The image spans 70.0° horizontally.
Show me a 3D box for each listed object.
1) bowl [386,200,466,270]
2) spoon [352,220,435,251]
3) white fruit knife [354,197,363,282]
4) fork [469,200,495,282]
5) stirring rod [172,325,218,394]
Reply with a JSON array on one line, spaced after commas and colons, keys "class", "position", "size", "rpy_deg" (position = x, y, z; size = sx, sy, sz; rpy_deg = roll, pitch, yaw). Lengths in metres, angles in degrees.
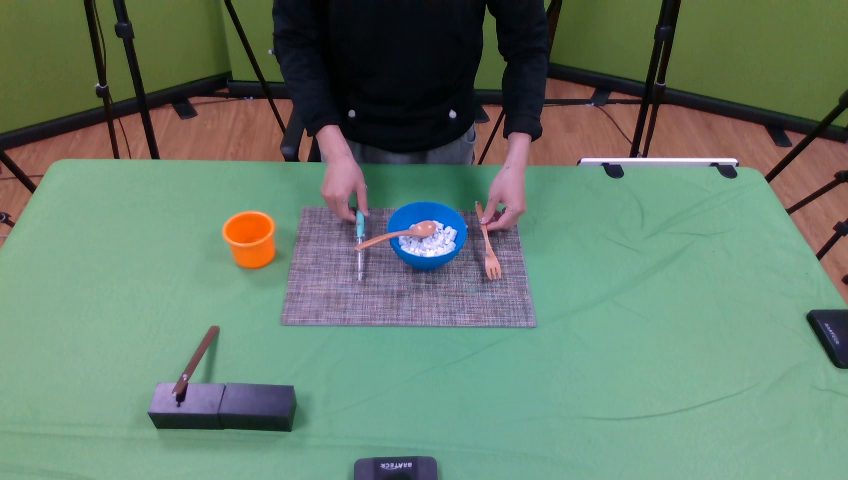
[{"class": "bowl", "position": [0.002, 0.003, 1.150], "size": [0.151, 0.077, 0.150], "rpy_deg": [2, 47, -2]}, {"class": "spoon", "position": [-0.054, -0.009, 1.109], "size": [0.194, 0.022, 0.041], "rpy_deg": [-14, 41, -43]}, {"class": "white fruit knife", "position": [-0.125, -0.006, 1.169], "size": [0.016, 0.027, 0.206], "rpy_deg": [-8, 53, 5]}, {"class": "fork", "position": [0.111, -0.003, 1.181], "size": [0.018, 0.028, 0.206], "rpy_deg": [-25, 48, 22]}, {"class": "stirring rod", "position": [-0.361, 0.185, 0.962], "size": [0.014, 0.006, 0.175], "rpy_deg": [0, 26, 1]}]
